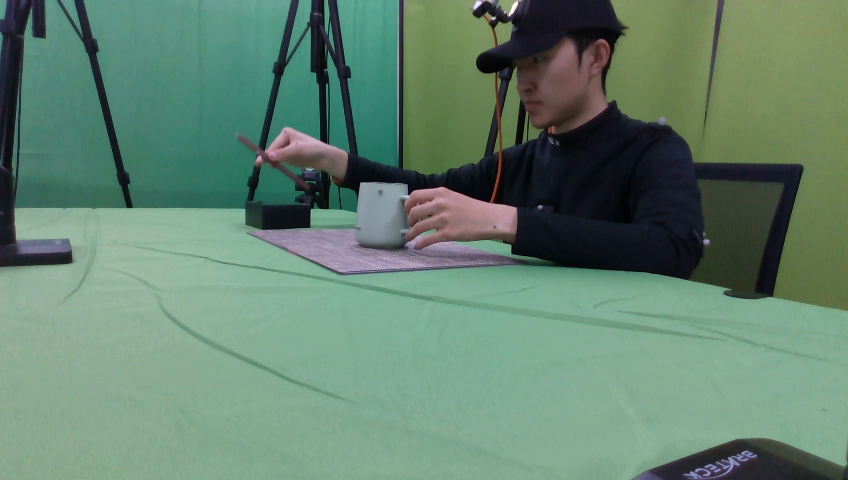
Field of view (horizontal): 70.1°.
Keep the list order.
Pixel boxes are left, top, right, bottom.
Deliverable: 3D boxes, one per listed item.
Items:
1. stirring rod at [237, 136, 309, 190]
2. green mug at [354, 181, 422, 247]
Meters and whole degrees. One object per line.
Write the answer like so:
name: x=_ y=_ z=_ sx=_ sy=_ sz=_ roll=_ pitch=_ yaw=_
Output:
stirring rod: x=-0.305 y=-0.156 z=1.234 sx=0.006 sy=0.014 sz=0.177 roll=-30 pitch=-52 yaw=32
green mug: x=-0.055 y=-0.042 z=0.988 sx=0.125 sy=0.105 sz=0.093 roll=7 pitch=8 yaw=35
